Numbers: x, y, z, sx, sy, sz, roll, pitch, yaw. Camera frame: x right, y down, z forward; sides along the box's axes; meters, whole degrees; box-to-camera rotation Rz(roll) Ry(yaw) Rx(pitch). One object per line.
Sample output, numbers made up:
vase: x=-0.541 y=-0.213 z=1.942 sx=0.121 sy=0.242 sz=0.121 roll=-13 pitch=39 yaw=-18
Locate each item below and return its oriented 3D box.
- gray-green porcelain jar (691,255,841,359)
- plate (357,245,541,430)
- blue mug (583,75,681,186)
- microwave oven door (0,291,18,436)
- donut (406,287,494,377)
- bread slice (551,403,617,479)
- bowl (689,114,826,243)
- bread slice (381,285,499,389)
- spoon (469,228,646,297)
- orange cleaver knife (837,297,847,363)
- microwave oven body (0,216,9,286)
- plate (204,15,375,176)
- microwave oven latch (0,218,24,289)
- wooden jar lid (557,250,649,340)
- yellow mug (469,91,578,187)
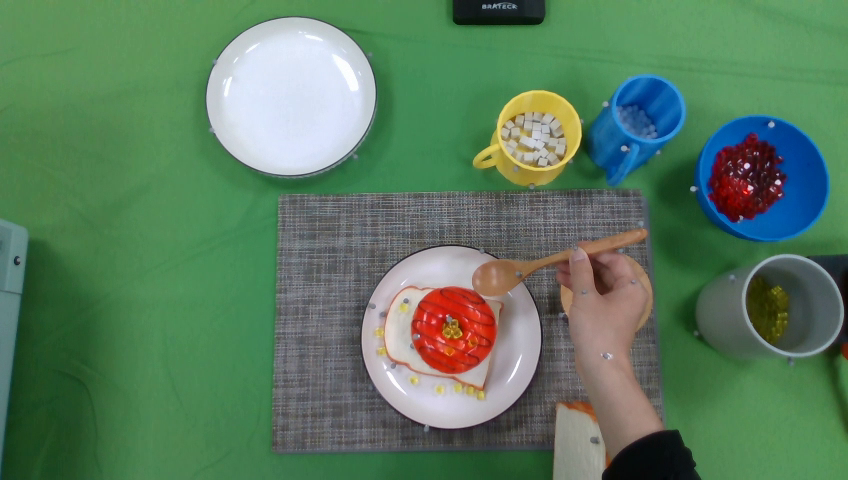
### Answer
gray-green porcelain jar: x=0.367 y=0.078 z=0.670 sx=0.106 sy=0.127 sz=0.105 roll=0 pitch=79 yaw=-1
plate: x=0.028 y=0.109 z=0.697 sx=0.209 sy=0.038 sz=0.208 roll=0 pitch=79 yaw=-1
blue mug: x=0.237 y=-0.119 z=0.716 sx=0.082 sy=0.106 sz=0.116 roll=19 pitch=79 yaw=3
microwave oven door: x=-0.481 y=0.211 z=0.548 sx=0.039 sy=0.244 sz=0.354 roll=0 pitch=79 yaw=-1
donut: x=0.028 y=0.101 z=0.671 sx=0.099 sy=0.048 sz=0.098 roll=1 pitch=78 yaw=-2
bread slice: x=0.164 y=0.228 z=0.633 sx=0.018 sy=0.134 sz=0.106 roll=8 pitch=76 yaw=-7
bowl: x=0.380 y=-0.064 z=0.722 sx=0.151 sy=0.077 sz=0.150 roll=0 pitch=79 yaw=-1
bread slice: x=0.015 y=0.108 z=0.700 sx=0.131 sy=0.019 sz=0.104 roll=13 pitch=79 yaw=-2
spoon: x=0.132 y=0.022 z=0.625 sx=0.193 sy=0.022 sz=0.041 roll=-20 pitch=70 yaw=34
orange cleaver knife: x=0.496 y=0.124 z=0.686 sx=0.012 sy=0.076 sz=0.212 roll=-3 pitch=109 yaw=-1
microwave oven body: x=-0.626 y=0.169 z=0.558 sx=0.326 sy=0.261 sz=0.440 roll=0 pitch=80 yaw=-1
plate: x=-0.164 y=-0.175 z=0.752 sx=0.208 sy=0.039 sz=0.206 roll=0 pitch=79 yaw=-1
microwave oven latch: x=-0.479 y=0.015 z=0.688 sx=0.030 sy=0.029 sz=0.079 roll=3 pitch=80 yaw=-1
wooden jar lid: x=0.211 y=0.065 z=0.719 sx=0.108 sy=0.021 sz=0.108 roll=0 pitch=80 yaw=-1
yellow mug: x=0.116 y=-0.115 z=0.732 sx=0.131 sy=0.064 sz=0.099 roll=-22 pitch=80 yaw=-4
